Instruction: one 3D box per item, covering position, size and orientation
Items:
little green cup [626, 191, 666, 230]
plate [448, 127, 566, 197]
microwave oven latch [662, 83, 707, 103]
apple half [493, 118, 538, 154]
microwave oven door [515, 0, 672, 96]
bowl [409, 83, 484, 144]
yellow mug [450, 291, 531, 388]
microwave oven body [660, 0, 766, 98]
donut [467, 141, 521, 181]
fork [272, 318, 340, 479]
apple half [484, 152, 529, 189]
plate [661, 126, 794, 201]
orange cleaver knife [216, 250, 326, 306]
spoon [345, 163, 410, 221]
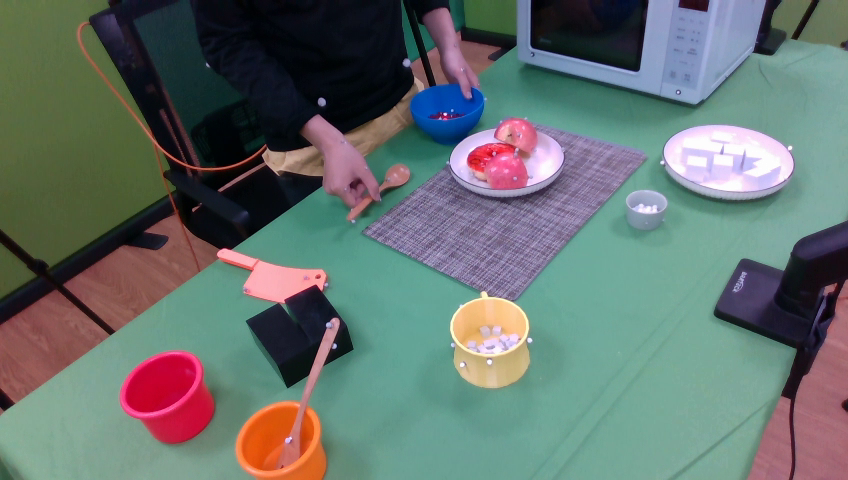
[{"bbox_3d":[0.352,-0.046,0.963,0.061,0.039,0.061,-4,40,4],"label":"little green cup"},{"bbox_3d":[0.150,-0.138,1.096,0.209,0.038,0.208,-4,40,4],"label":"plate"},{"bbox_3d":[0.517,-0.296,1.204,0.078,0.029,0.030,27,52,35],"label":"microwave oven latch"},{"bbox_3d":[0.175,-0.197,1.114,0.080,0.053,0.075,29,12,34],"label":"apple half"},{"bbox_3d":[0.343,-0.454,1.259,0.353,0.245,0.039,26,51,33],"label":"microwave oven door"},{"bbox_3d":[0.048,-0.245,1.213,0.151,0.077,0.150,-4,40,4],"label":"bowl"},{"bbox_3d":[0.085,0.120,0.786,0.100,0.064,0.130,-7,39,1],"label":"yellow mug"},{"bbox_3d":[0.472,-0.513,1.317,0.438,0.261,0.327,26,51,34],"label":"microwave oven body"},{"bbox_3d":[0.127,-0.144,1.090,0.099,0.048,0.098,-5,39,5],"label":"donut"},{"bbox_3d":[-0.131,0.186,0.676,0.028,0.019,0.207,17,90,28],"label":"fork"},{"bbox_3d":[0.144,-0.117,1.032,0.081,0.033,0.081,2,78,-11],"label":"apple half"},{"bbox_3d":[0.513,-0.128,1.035,0.207,0.039,0.206,-4,40,4],"label":"plate"},{"bbox_3d":[-0.248,0.058,0.945,0.210,0.012,0.077,13,49,20],"label":"orange cleaver knife"},{"bbox_3d":[-0.083,-0.087,1.063,0.041,0.021,0.194,39,42,4],"label":"spoon"}]
